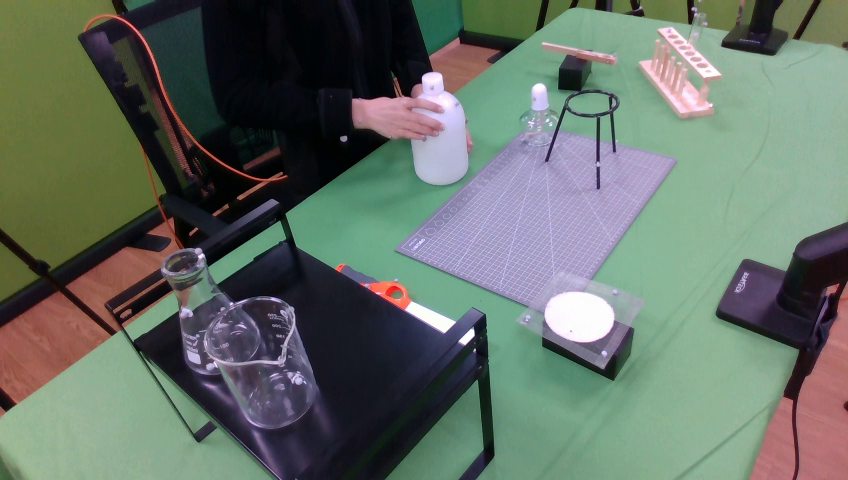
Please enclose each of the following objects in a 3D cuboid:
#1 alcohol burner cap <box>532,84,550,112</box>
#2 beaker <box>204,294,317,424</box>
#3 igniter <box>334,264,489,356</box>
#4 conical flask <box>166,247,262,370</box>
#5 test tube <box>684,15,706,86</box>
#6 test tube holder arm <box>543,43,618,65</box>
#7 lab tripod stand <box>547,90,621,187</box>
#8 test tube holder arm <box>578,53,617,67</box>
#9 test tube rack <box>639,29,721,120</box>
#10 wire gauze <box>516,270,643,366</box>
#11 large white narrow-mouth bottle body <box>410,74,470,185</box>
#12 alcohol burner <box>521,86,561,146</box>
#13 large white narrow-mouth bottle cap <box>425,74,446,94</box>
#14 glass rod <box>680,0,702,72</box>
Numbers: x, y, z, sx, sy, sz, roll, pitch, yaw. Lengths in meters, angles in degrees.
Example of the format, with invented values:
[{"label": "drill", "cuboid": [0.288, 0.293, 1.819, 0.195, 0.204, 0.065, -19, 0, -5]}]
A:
[{"label": "alcohol burner cap", "cuboid": [0.218, -0.269, 1.133, 0.034, 0.048, 0.033, -8, 36, 7]}, {"label": "beaker", "cuboid": [-0.137, 0.110, 0.536, 0.083, 0.101, 0.074, 30, 53, 36]}, {"label": "igniter", "cuboid": [-0.030, 0.095, 0.871, 0.274, 0.025, 0.057, 22, 59, 31]}, {"label": "conical flask", "cuboid": [-0.209, 0.064, 0.584, 0.075, 0.122, 0.075, -5, 40, 4]}, {"label": "test tube", "cuboid": [0.540, -0.378, 1.215, 0.017, 0.151, 0.017, -2, 44, 3]}, {"label": "test tube holder arm", "cuboid": [0.344, -0.413, 1.340, 0.177, 0.015, 0.013, 25, 51, 31]}, {"label": "lab tripod stand", "cuboid": [0.289, -0.184, 1.062, 0.148, 0.132, 0.147, -6, 41, 6]}, {"label": "test tube holder arm", "cuboid": [0.376, -0.393, 1.314, 0.087, 0.015, 0.010, 26, 51, 32]}, {"label": "test tube rack", "cuboid": [0.527, -0.351, 1.262, 0.067, 0.085, 0.241, -8, 40, 1]}, {"label": "wire gauze", "cuboid": [0.200, 0.093, 0.777, 0.124, 0.011, 0.122, 23, 49, 32]}, {"label": "large white narrow-mouth bottle body", "cuboid": [0.027, -0.202, 1.083, 0.102, 0.195, 0.101, -4, 40, 4]}, {"label": "alcohol burner", "cuboid": [0.223, -0.241, 1.155, 0.078, 0.119, 0.077, -5, 43, 5]}, {"label": "large white narrow-mouth bottle cap", "cuboid": [0.019, -0.266, 1.028, 0.038, 0.024, 0.037, -4, 40, 4]}, {"label": "glass rod", "cuboid": [0.543, -0.417, 1.233, 0.008, 0.200, 0.008, 1, 40, 0]}]
